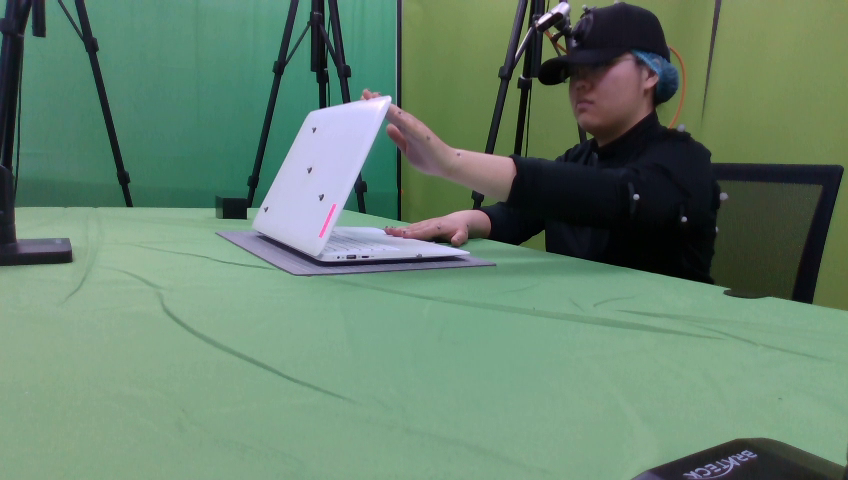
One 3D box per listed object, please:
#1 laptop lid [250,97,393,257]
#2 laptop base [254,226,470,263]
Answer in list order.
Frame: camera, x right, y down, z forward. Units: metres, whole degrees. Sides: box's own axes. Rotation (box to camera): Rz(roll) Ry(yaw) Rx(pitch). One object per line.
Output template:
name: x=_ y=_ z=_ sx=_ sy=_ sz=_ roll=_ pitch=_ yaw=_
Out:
laptop lid: x=-0.172 y=-0.105 z=0.922 sx=0.013 sy=0.241 sz=0.355 roll=28 pitch=-5 yaw=-30
laptop base: x=-0.117 y=0.005 z=0.971 sx=0.237 sy=0.023 sz=0.352 roll=3 pitch=6 yaw=-30
